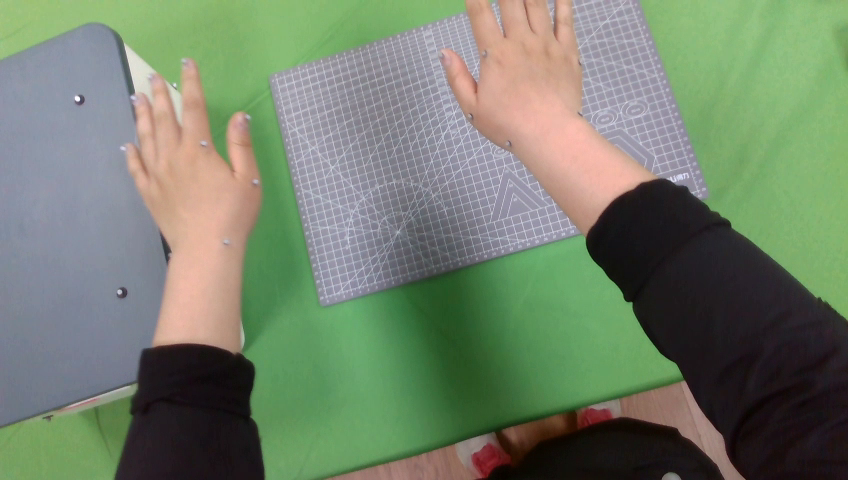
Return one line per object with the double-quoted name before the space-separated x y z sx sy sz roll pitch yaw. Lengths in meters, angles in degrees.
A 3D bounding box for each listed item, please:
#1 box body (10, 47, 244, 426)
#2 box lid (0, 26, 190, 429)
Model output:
"box body" -0.376 -0.002 0.673 0.254 0.161 0.362 -19 78 5
"box lid" -0.388 -0.017 0.600 0.263 0.015 0.369 -19 79 5
